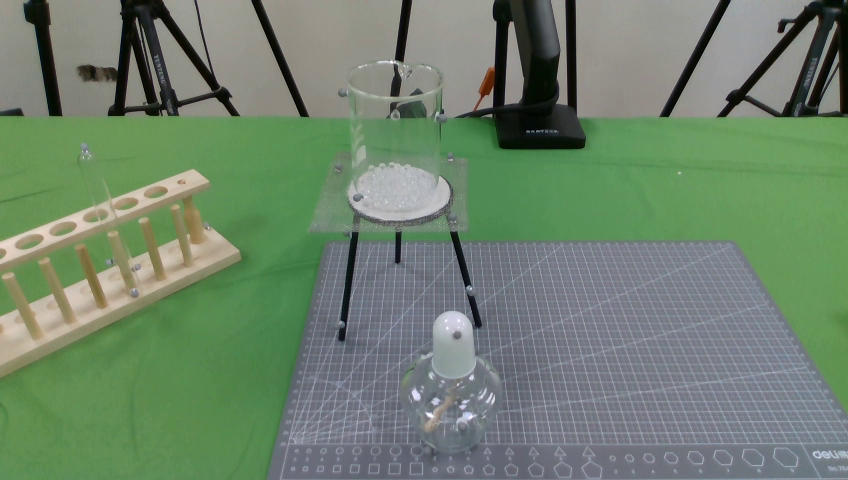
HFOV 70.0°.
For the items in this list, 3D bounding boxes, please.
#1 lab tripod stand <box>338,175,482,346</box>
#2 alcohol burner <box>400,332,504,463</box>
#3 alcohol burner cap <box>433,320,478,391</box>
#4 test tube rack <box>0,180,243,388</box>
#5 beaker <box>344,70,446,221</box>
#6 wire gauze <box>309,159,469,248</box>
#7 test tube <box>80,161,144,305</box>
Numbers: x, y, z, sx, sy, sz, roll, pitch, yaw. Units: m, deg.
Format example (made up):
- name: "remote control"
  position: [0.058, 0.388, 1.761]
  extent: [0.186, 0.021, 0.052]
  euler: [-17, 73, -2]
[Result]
- name: "lab tripod stand"
  position: [-0.015, 0.019, 0.542]
  extent: [0.148, 0.132, 0.147]
  euler: [1, 35, 0]
- name: "alcohol burner"
  position: [0.021, 0.106, 0.440]
  extent: [0.078, 0.120, 0.077]
  euler: [0, 38, 0]
- name: "alcohol burner cap"
  position: [0.021, 0.077, 0.419]
  extent: [0.034, 0.048, 0.033]
  euler: [-2, 36, 2]
- name: "test tube rack"
  position: [-0.303, 0.033, 0.571]
  extent: [0.242, 0.086, 0.066]
  euler: [-29, 45, -34]
- name: "beaker"
  position: [-0.021, -0.073, 0.474]
  extent: [0.074, 0.101, 0.083]
  euler: [7, 36, 7]
- name: "wire gauze"
  position: [-0.024, -0.033, 0.501]
  extent: [0.121, 0.011, 0.124]
  euler: [2, 38, 2]
- name: "test tube"
  position: [-0.278, -0.002, 0.543]
  extent: [0.017, 0.151, 0.017]
  euler: [0, 35, 0]
